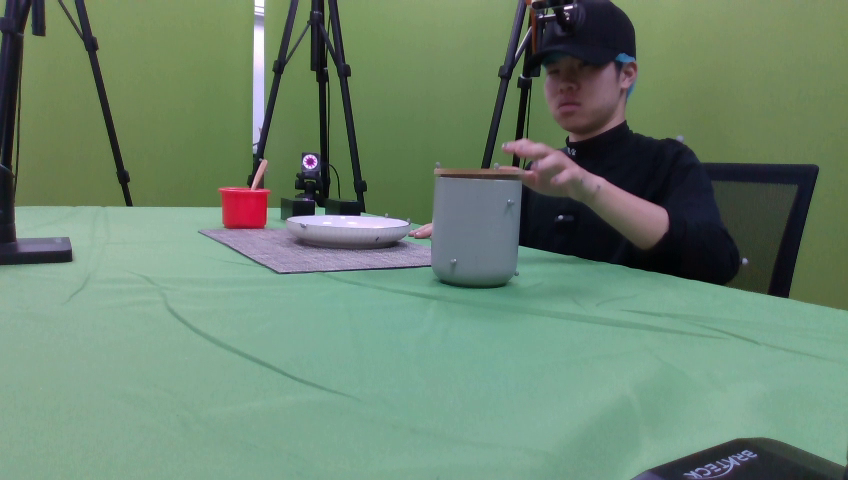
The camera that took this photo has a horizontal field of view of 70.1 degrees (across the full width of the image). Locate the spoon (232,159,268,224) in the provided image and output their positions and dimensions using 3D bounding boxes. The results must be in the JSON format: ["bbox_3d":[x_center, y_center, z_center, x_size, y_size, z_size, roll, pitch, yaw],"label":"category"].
[{"bbox_3d":[-0.343,-0.101,1.218,0.041,0.021,0.193,4,51,4],"label":"spoon"}]

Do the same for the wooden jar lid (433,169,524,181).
[{"bbox_3d":[0.064,-0.074,0.717,0.108,0.020,0.108,0,5,0],"label":"wooden jar lid"}]

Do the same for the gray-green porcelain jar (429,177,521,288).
[{"bbox_3d":[0.060,-0.011,0.725,0.106,0.126,0.106,2,7,0],"label":"gray-green porcelain jar"}]

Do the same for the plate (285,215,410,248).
[{"bbox_3d":[-0.127,-0.015,1.012,0.208,0.039,0.207,3,7,0],"label":"plate"}]
